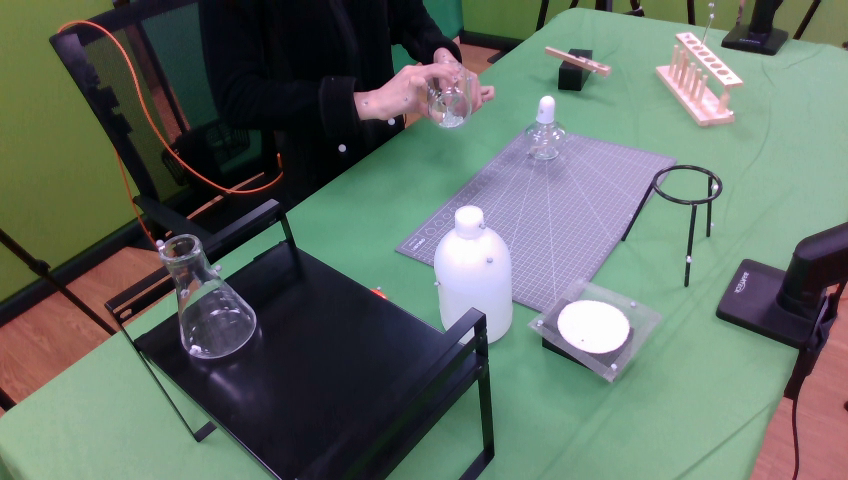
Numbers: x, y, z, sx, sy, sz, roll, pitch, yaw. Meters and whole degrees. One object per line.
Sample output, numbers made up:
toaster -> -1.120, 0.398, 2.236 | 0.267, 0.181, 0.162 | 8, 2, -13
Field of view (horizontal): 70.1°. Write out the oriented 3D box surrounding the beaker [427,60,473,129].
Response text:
beaker -> 0.042, -0.228, 0.969 | 0.074, 0.084, 0.100 | -4, 40, 5

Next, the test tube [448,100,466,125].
test tube -> 0.061, -0.231, 1.101 | 0.017, 0.017, 0.150 | 0, 0, 10

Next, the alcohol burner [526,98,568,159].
alcohol burner -> 0.228, -0.210, 1.118 | 0.078, 0.119, 0.077 | -5, 43, 5

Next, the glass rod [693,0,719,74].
glass rod -> 0.560, -0.401, 1.214 | 0.008, 0.200, 0.008 | -1, 48, 2

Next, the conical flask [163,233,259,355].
conical flask -> -0.216, 0.051, 0.601 | 0.075, 0.122, 0.075 | -5, 40, 4

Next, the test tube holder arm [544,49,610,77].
test tube holder arm -> 0.330, -0.386, 1.314 | 0.013, 0.015, 0.177 | -25, 43, -32

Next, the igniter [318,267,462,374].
igniter -> -0.059, 0.107, 0.862 | 0.274, 0.025, 0.057 | 28, 62, 34

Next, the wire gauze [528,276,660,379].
wire gauze -> 0.213, 0.103, 0.763 | 0.124, 0.011, 0.122 | 30, 52, 35

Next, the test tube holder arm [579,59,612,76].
test tube holder arm -> 0.362, -0.368, 1.289 | 0.010, 0.015, 0.087 | -25, 43, -32

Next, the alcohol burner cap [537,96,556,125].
alcohol burner cap -> 0.223, -0.237, 1.095 | 0.034, 0.048, 0.033 | 0, 42, 1

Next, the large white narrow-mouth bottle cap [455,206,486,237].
large white narrow-mouth bottle cap -> 0.056, -0.023, 0.734 | 0.038, 0.024, 0.037 | -4, 40, 4

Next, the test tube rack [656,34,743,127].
test tube rack -> 0.553, -0.330, 1.233 | 0.067, 0.085, 0.241 | -7, 40, 2

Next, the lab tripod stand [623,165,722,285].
lab tripod stand -> 0.365, -0.030, 0.875 | 0.148, 0.132, 0.147 | -6, 41, 6

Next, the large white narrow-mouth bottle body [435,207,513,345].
large white narrow-mouth bottle body -> 0.065, 0.041, 0.791 | 0.102, 0.195, 0.101 | -4, 41, 4
